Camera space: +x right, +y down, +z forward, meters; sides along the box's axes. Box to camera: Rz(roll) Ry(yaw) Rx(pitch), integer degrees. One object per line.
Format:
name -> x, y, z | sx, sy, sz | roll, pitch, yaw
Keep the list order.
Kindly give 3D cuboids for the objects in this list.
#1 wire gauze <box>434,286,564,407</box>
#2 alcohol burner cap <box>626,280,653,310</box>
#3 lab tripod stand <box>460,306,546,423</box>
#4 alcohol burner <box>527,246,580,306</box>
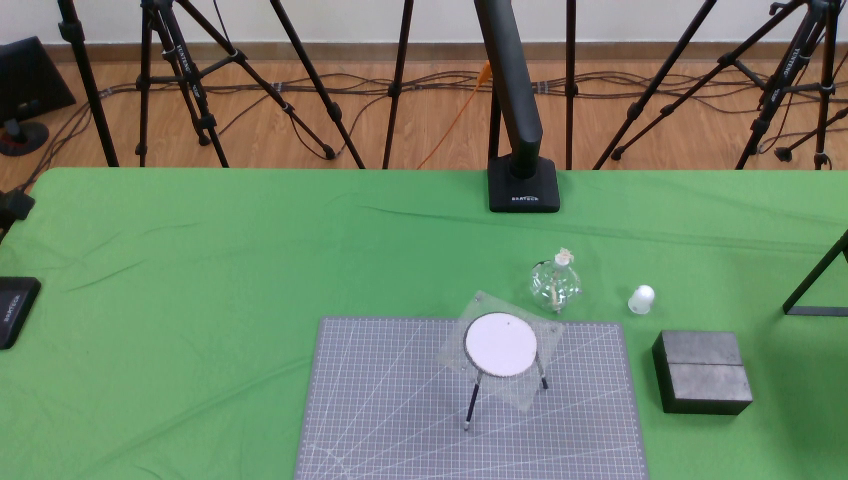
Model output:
wire gauze -> 0.092, 0.122, 0.733 | 0.124, 0.011, 0.121 | 25, 58, 17
alcohol burner cap -> 0.324, 0.080, 0.904 | 0.034, 0.048, 0.033 | -1, 53, 2
lab tripod stand -> 0.095, 0.156, 0.791 | 0.148, 0.132, 0.147 | 0, 52, 0
alcohol burner -> 0.193, 0.045, 0.886 | 0.078, 0.120, 0.077 | 0, 54, 0
